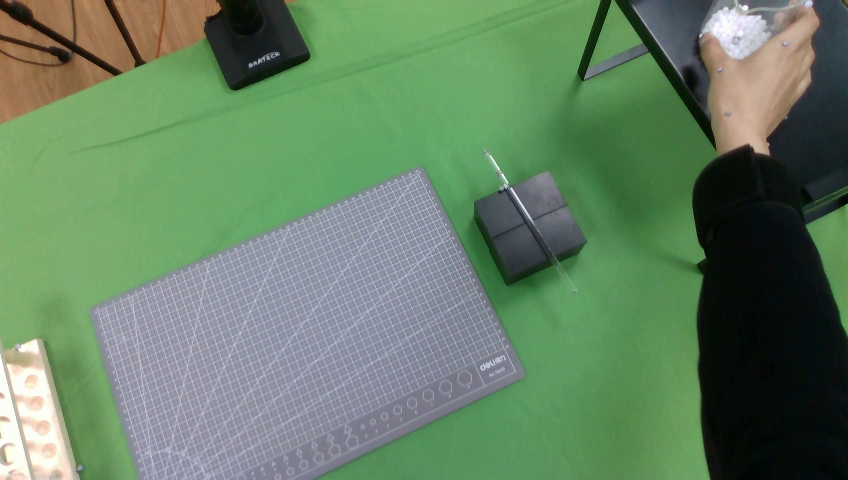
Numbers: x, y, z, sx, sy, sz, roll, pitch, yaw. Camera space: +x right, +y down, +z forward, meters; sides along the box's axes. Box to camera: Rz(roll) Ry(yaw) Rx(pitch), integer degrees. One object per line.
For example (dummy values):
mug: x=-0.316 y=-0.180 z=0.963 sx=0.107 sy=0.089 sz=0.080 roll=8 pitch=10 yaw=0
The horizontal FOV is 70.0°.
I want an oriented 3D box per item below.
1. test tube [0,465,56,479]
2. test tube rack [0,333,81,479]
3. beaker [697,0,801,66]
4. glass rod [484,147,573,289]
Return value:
test tube: x=-0.413 y=0.236 z=0.606 sx=0.017 sy=0.151 sz=0.017 roll=1 pitch=72 yaw=-3
test tube rack: x=-0.448 y=0.220 z=0.664 sx=0.067 sy=0.085 sz=0.241 roll=-24 pitch=74 yaw=-5
beaker: x=0.305 y=-0.218 z=0.571 sx=0.073 sy=0.101 sz=0.084 roll=39 pitch=82 yaw=16
glass rod: x=0.121 y=-0.028 z=0.710 sx=0.008 sy=0.008 sz=0.198 roll=-27 pitch=75 yaw=-6
